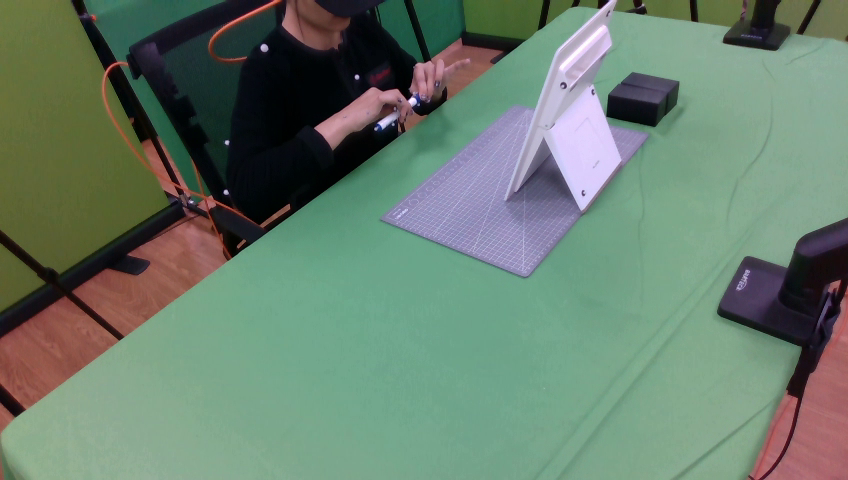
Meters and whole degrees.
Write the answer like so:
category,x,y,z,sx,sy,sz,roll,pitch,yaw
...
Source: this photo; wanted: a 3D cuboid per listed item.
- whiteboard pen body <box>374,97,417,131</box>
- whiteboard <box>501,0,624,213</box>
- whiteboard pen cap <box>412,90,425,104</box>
category,x,y,z,sx,sy,sz,roll,pitch,yaw
whiteboard pen body,-0.048,-0.251,1.177,0.017,0.017,0.141,23,51,32
whiteboard,0.271,-0.189,0.977,0.143,0.306,0.218,34,53,16
whiteboard pen cap,-0.014,-0.287,1.211,0.018,0.018,0.033,15,46,26
